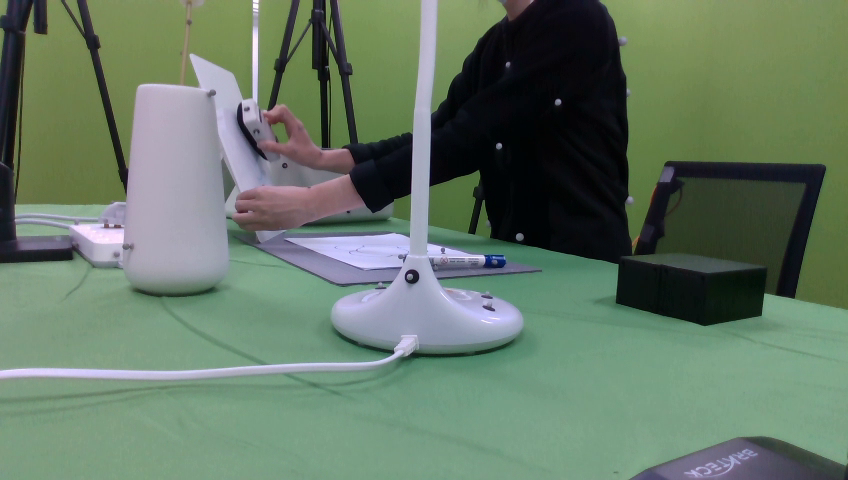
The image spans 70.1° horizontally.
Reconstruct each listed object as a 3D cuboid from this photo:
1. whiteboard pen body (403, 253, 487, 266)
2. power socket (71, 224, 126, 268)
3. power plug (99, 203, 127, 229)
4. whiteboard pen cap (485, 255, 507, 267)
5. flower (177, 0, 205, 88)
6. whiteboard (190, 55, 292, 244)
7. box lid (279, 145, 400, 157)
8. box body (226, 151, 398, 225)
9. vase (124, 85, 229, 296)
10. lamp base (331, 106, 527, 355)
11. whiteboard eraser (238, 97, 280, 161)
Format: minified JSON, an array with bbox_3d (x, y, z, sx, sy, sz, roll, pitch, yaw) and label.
[{"bbox_3d":[0.039,0.026,0.785,0.141,0.017,0.017,1,7,-24],"label":"whiteboard pen body"},{"bbox_3d":[-0.409,0.004,0.793,0.072,0.032,0.225,-2,8,-37],"label":"power socket"},{"bbox_3d":[-0.415,-0.026,0.848,0.073,0.052,0.035,6,5,-28],"label":"power plug"},{"bbox_3d":[0.093,0.028,0.809,0.033,0.018,0.018,0,8,-24],"label":"whiteboard pen cap"},{"bbox_3d":[-0.243,-0.131,0.609,0.044,0.361,0.038,-5,-12,11],"label":"flower"},{"bbox_3d":[-0.363,-0.129,1.028,0.144,0.305,0.217,-18,7,3],"label":"whiteboard"},{"bbox_3d":[-0.263,-0.203,1.369,0.262,0.015,0.373,9,10,39],"label":"box lid"},{"bbox_3d":[-0.265,-0.129,1.380,0.253,0.160,0.366,8,9,39],"label":"box body"},{"bbox_3d":[-0.244,-0.047,0.598,0.098,0.200,0.098,3,8,0],"label":"vase"},{"bbox_3d":[0.006,-0.012,0.478,0.161,0.180,0.179,2,10,2],"label":"lamp base"},{"bbox_3d":[-0.293,-0.194,1.072,0.042,0.055,0.113,-19,-34,2],"label":"whiteboard eraser"}]
